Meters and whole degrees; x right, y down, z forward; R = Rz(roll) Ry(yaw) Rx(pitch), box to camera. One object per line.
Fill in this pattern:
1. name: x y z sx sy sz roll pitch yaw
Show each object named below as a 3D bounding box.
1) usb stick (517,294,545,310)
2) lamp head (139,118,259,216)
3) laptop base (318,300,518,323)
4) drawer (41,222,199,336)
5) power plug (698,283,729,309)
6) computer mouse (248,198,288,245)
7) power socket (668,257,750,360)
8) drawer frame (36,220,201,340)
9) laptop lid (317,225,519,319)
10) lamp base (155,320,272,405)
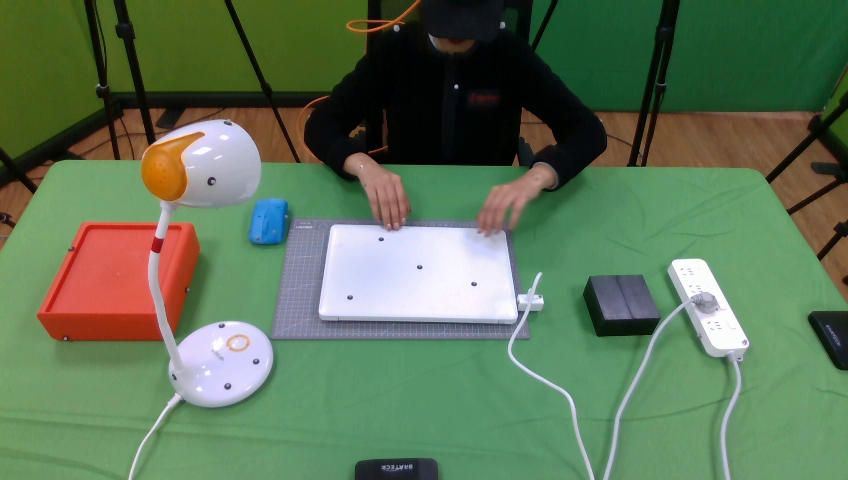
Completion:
1. usb stick: 0.184 0.111 1.085 0.059 0.027 0.021 -2 49 -2
2. lamp head: -0.282 -0.086 0.734 0.112 0.113 0.123 21 25 16
3. laptop base: -0.010 0.063 1.137 0.354 0.023 0.234 1 42 -2
4. drawer: -0.519 0.064 1.058 0.195 0.073 0.210 1 47 -4
5. power plug: 0.510 0.096 1.060 0.052 0.073 0.035 -21 61 9
6. computer mouse: -0.309 -0.041 1.205 0.063 0.041 0.116 3 50 -3
7. power socket: 0.517 0.117 1.109 0.072 0.033 0.225 -3 47 -4
8. drawer frame: -0.518 0.065 1.055 0.202 0.083 0.212 0 47 -5
9. laptop lid: -0.010 0.053 1.130 0.357 0.013 0.240 3 43 -1
10. lamp base: -0.330 0.149 0.918 0.160 0.181 0.179 26 52 20
